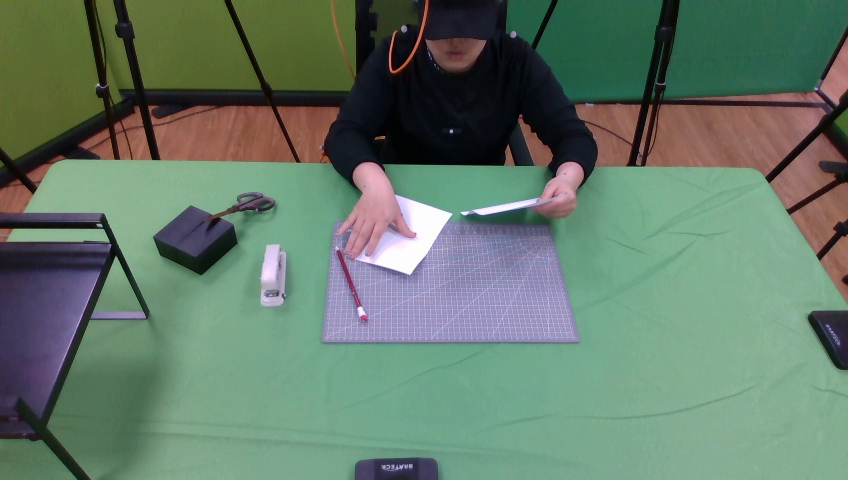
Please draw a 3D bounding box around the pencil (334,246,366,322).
[{"bbox_3d":[-0.140,0.076,1.117,0.012,0.012,0.192,-14,48,-17],"label":"pencil"}]

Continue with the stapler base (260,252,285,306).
[{"bbox_3d":[-0.279,0.064,1.113,0.041,0.024,0.129,-1,44,-9],"label":"stapler base"}]

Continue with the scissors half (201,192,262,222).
[{"bbox_3d":[-0.381,-0.066,1.198,0.040,0.013,0.175,22,27,11],"label":"scissors half"}]

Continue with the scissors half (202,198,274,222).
[{"bbox_3d":[-0.364,-0.056,1.192,0.040,0.013,0.175,36,32,24],"label":"scissors half"}]

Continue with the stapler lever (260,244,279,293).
[{"bbox_3d":[-0.279,0.045,1.096,0.027,0.040,0.117,-1,44,-9],"label":"stapler lever"}]
